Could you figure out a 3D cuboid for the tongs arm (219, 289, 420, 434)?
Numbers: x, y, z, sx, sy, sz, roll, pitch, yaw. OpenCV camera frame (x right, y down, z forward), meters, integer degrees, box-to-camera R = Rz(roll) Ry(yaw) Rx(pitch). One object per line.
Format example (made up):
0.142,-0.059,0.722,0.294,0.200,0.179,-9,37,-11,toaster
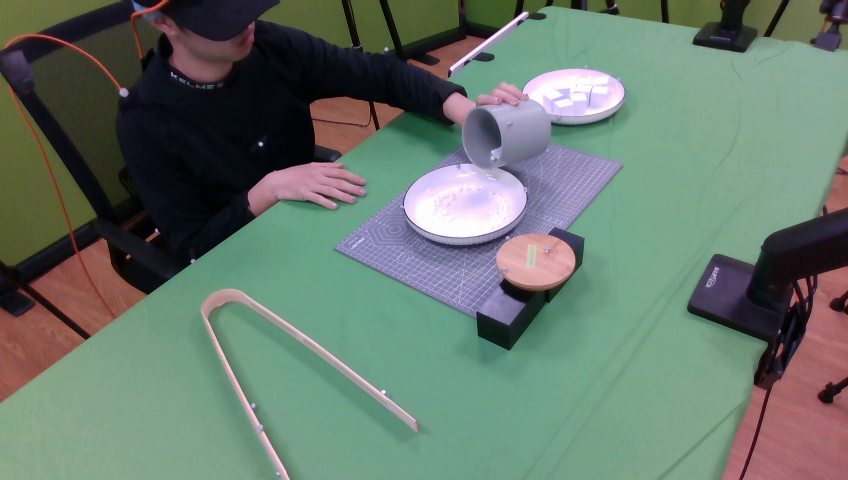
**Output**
-0.153,0.151,0.811,0.384,0.028,0.028,26,53,33,tongs arm

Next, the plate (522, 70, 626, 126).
0.308,-0.289,1.251,0.207,0.039,0.206,-4,40,4,plate

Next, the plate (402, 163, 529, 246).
0.069,-0.056,1.008,0.209,0.038,0.208,-4,40,4,plate

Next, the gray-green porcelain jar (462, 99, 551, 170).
0.145,-0.183,1.032,0.127,0.106,0.105,-18,39,-33,gray-green porcelain jar

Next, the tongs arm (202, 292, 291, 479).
-0.216,0.187,0.772,0.051,0.026,0.381,-27,43,-24,tongs arm

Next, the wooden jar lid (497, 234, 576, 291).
0.155,0.032,0.834,0.108,0.021,0.108,-5,40,4,wooden jar lid
